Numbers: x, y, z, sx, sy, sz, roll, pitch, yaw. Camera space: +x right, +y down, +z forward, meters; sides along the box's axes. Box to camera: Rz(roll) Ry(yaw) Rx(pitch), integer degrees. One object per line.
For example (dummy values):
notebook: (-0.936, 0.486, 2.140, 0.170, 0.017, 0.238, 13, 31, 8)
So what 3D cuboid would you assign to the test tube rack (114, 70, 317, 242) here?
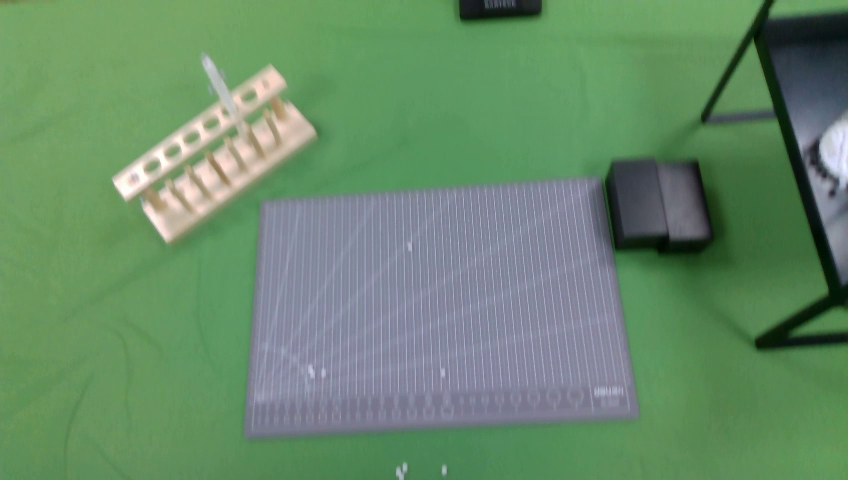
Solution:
test tube rack: (-0.264, -0.109, 0.793, 0.242, 0.086, 0.066, -39, 70, -11)

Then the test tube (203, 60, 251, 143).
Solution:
test tube: (-0.243, -0.169, 0.761, 0.017, 0.151, 0.017, -1, 64, 2)

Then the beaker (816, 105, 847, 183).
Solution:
beaker: (0.405, -0.101, 0.536, 0.074, 0.101, 0.083, -7, 67, 2)
